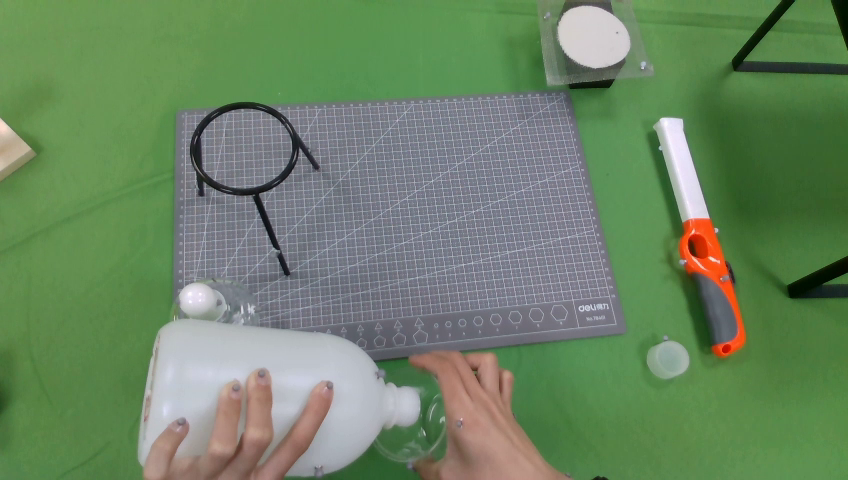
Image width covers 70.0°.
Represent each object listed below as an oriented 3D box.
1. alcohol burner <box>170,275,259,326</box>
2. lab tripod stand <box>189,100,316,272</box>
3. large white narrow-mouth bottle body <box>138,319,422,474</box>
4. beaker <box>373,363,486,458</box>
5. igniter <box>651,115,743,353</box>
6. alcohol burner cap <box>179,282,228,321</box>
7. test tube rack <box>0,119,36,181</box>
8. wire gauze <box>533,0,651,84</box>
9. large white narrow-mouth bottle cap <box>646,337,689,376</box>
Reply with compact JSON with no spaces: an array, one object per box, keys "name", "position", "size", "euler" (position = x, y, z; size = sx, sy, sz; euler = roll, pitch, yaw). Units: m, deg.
[{"name":"alcohol burner","position":[-0.189,0.063,0.538],"size":[0.078,0.120,0.077],"euler":[3,67,-6]},{"name":"lab tripod stand","position":[-0.157,-0.055,0.575],"size":[0.149,0.132,0.147],"euler":[3,70,-7]},{"name":"large white narrow-mouth bottle body","position":[-0.094,0.116,0.439],"size":[0.196,0.102,0.101],"euler":[10,66,-26]},{"name":"beaker","position":[0.004,0.152,0.528],"size":[0.083,0.101,0.073],"euler":[2,72,28]},{"name":"igniter","position":[0.297,-0.014,0.664],"size":[0.057,0.025,0.274],"euler":[-1,70,-17]},{"name":"alcohol burner cap","position":[-0.186,0.051,0.504],"size":[0.034,0.048,0.033],"euler":[1,74,-5]},{"name":"test tube rack","position":[-0.508,-0.045,0.565],"size":[0.066,0.085,0.242],"euler":[41,71,10]},{"name":"wire gauze","position":[0.190,-0.236,0.696],"size":[0.122,0.011,0.124],"euler":[-3,70,-7]},{"name":"large white narrow-mouth bottle cap","position":[0.246,0.118,0.615],"size":[0.038,0.024,0.037],"euler":[2,69,-4]}]
